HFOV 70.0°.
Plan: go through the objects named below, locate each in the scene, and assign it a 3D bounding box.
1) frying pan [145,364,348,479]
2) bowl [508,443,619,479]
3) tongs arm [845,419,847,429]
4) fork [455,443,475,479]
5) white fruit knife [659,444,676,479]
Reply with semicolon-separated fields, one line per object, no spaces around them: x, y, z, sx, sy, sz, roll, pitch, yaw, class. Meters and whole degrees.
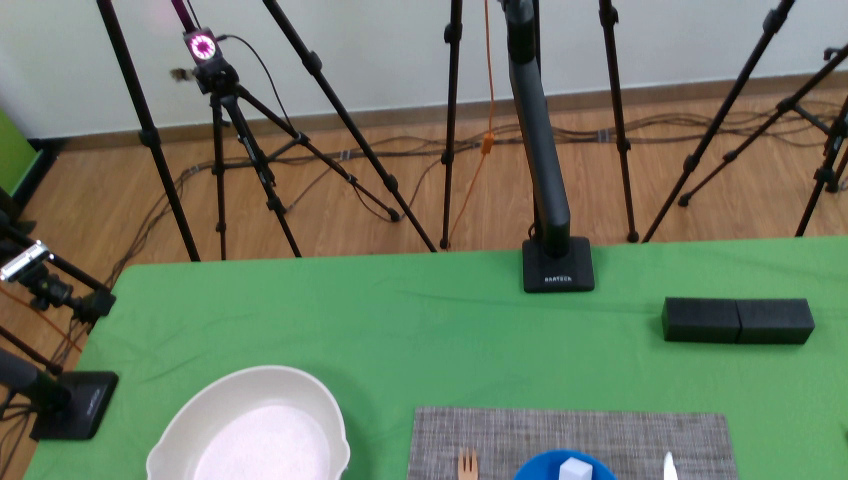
-0.261;0.395;0.814;0.306;0.104;0.483;-4;41;10;frying pan
0.179;0.348;0.775;0.151;0.077;0.150;-6;50;7;bowl
0.580;0.389;0.698;0.028;0.028;0.383;-5;50;5;tongs arm
0.056;0.376;0.816;0.028;0.019;0.205;1;49;2;fork
0.321;0.361;0.776;0.027;0.016;0.205;7;51;4;white fruit knife
